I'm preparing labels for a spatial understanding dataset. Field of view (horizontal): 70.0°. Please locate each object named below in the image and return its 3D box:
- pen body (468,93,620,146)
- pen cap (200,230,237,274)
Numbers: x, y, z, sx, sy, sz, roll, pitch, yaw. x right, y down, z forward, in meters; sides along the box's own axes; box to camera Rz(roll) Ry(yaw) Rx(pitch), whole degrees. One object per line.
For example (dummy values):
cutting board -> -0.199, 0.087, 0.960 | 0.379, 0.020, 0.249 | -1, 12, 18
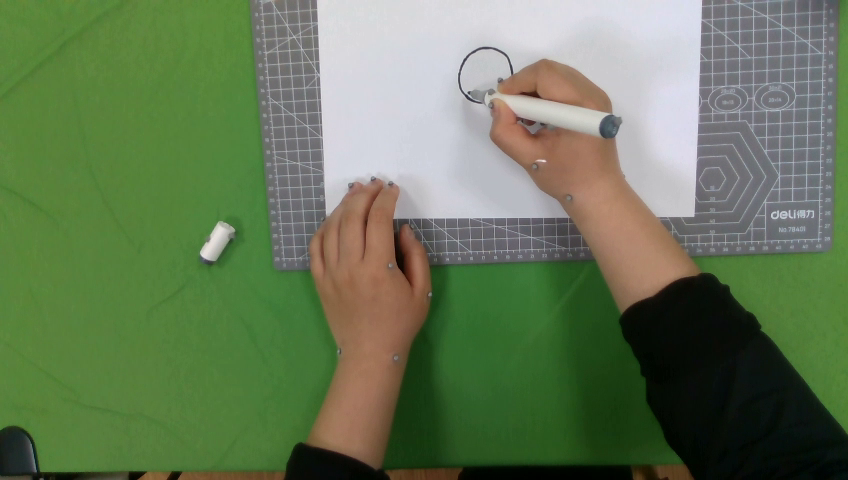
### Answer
pen body -> 0.076, -0.088, 0.426 | 0.017, 0.142, 0.017 | -17, 119, -31
pen cap -> -0.176, 0.011, 0.517 | 0.017, 0.017, 0.038 | 36, 98, 2
